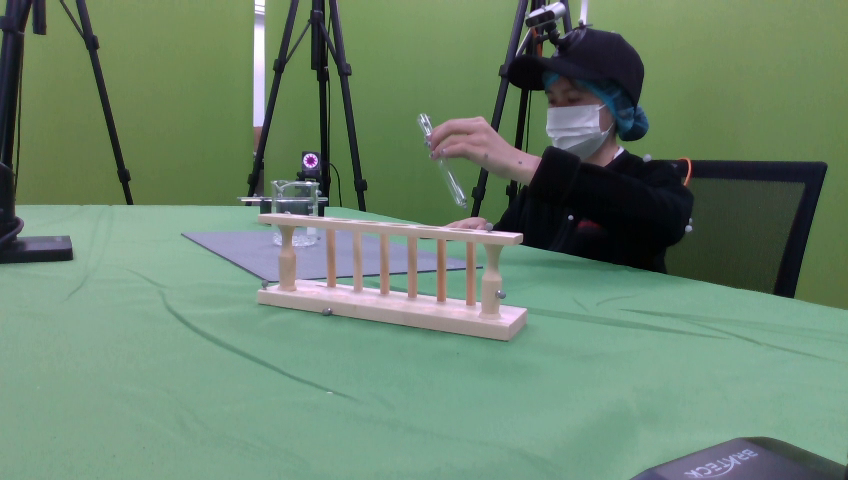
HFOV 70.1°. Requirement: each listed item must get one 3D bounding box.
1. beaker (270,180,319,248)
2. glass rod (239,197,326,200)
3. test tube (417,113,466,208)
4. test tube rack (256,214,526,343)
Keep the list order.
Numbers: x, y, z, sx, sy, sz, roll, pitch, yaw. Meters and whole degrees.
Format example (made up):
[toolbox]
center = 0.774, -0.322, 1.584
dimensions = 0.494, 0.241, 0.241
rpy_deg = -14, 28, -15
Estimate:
[beaker]
center = -0.203, -0.040, 0.935
dimensions = 0.074, 0.100, 0.084
rpy_deg = 5, 8, 18
[glass rod]
center = -0.288, -0.087, 1.250
dimensions = 0.201, 0.008, 0.008
rpy_deg = -4, 10, -42
[test tube]
center = 0.024, -0.112, 0.845
dimensions = 0.017, 0.150, 0.017
rpy_deg = -21, -15, -6
[test tube rack]
center = -0.032, 0.027, 0.547
dimensions = 0.241, 0.085, 0.067
rpy_deg = 6, 7, 22
